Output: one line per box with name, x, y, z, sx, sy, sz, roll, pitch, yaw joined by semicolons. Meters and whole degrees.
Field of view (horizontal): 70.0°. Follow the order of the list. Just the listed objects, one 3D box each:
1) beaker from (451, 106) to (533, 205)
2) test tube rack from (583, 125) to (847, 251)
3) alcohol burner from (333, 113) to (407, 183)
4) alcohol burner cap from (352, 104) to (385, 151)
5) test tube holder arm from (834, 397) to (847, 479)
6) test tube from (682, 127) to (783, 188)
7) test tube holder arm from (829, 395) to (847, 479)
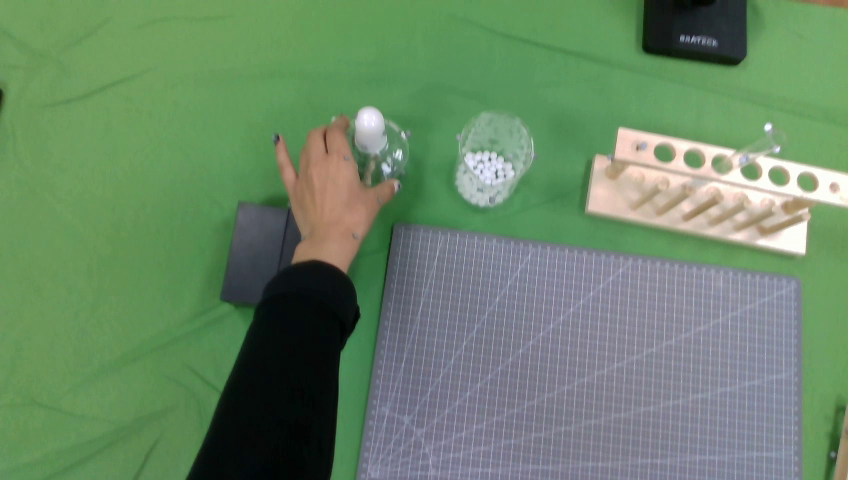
beaker;0.066;-0.080;0.628;0.074;0.100;0.083;10;77;0
test tube rack;0.303;-0.051;0.640;0.242;0.085;0.066;11;77;0
alcohol burner;-0.056;-0.102;0.619;0.078;0.119;0.077;1;76;-3
alcohol burner cap;-0.054;-0.110;0.584;0.034;0.048;0.033;1;70;-2
test tube holder arm;0.438;0.207;0.626;0.010;0.015;0.087;27;76;-32
test tube;0.296;-0.077;0.595;0.017;0.150;0.017;1;79;-5
test tube holder arm;0.420;0.247;0.615;0.013;0.015;0.178;25;77;-32
